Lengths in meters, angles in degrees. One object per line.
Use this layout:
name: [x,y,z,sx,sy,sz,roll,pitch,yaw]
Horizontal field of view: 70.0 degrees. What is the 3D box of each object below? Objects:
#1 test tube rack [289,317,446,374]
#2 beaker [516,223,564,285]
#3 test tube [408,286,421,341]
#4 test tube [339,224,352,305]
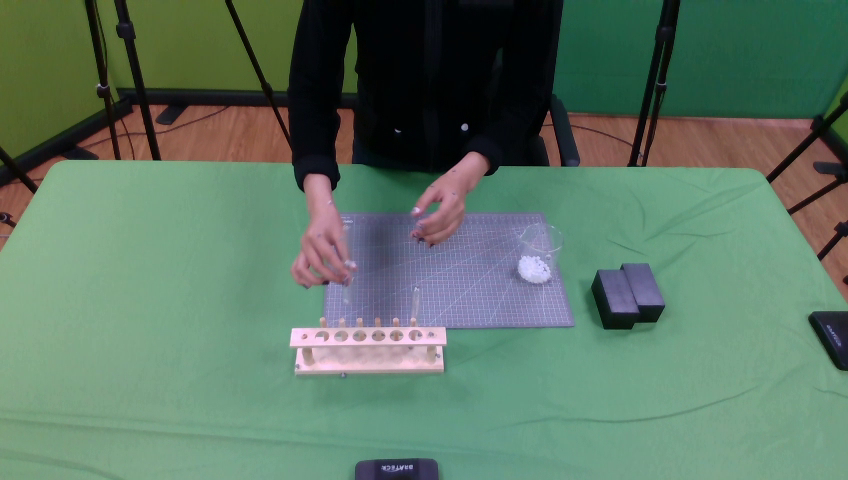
test tube rack: [-0.089,0.167,0.987,0.242,0.085,0.066,0,46,-4]
beaker: [0.211,0.029,1.131,0.084,0.101,0.073,-1,46,-4]
test tube: [-0.016,0.124,0.973,0.017,0.151,0.017,3,46,-2]
test tube: [-0.119,0.039,0.921,0.017,0.151,0.017,2,35,-1]
